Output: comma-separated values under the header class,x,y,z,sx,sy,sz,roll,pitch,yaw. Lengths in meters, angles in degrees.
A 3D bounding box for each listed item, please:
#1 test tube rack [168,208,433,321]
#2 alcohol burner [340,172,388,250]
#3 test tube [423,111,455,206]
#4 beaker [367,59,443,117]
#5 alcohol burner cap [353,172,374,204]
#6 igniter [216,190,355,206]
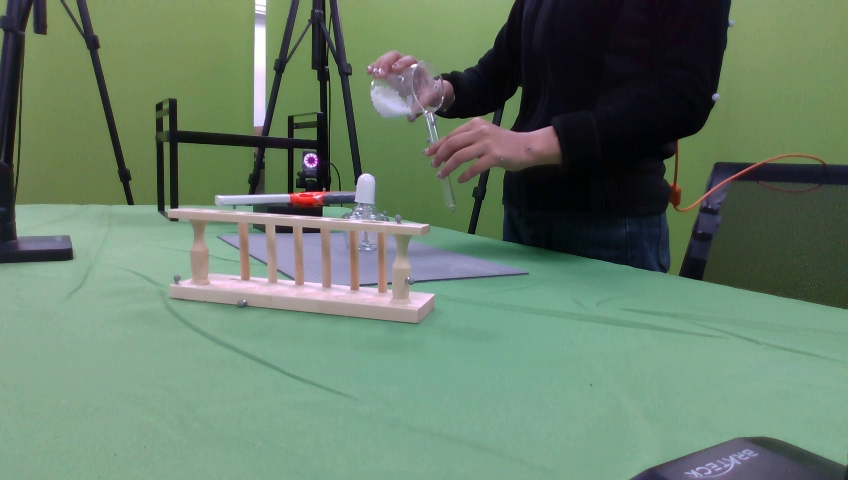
class,x,y,z,sx,sy,sz,roll,pitch,yaw
test tube rack,-0.116,0.017,0.574,0.242,0.085,0.067,4,8,13
alcohol burner,-0.094,-0.045,0.939,0.078,0.119,0.078,0,7,0
test tube,0.022,-0.122,0.894,0.017,0.150,0.017,-13,-12,-3
beaker,-0.031,-0.229,0.938,0.100,0.084,0.074,0,5,42
alcohol burner cap,-0.092,-0.081,0.935,0.034,0.048,0.034,6,10,-1
igniter,-0.249,-0.079,1.151,0.278,0.025,0.057,-4,11,-27
